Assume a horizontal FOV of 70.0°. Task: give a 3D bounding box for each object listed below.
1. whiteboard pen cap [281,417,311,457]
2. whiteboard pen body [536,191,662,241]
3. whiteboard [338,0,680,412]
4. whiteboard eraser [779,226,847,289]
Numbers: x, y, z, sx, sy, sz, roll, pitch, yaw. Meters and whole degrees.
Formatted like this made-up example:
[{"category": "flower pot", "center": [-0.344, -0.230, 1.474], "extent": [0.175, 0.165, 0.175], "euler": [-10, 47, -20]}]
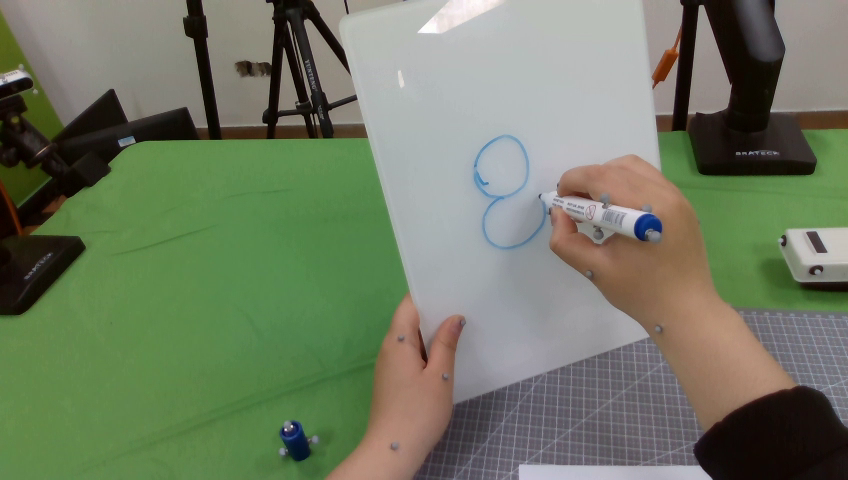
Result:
[{"category": "whiteboard pen cap", "center": [-0.098, 0.153, 0.467], "extent": [0.018, 0.033, 0.018], "euler": [-5, 39, 5]}, {"category": "whiteboard pen body", "center": [0.104, -0.019, 0.388], "extent": [0.017, 0.017, 0.140], "euler": [-19, 16, -11]}, {"category": "whiteboard", "center": [0.067, -0.052, 0.515], "extent": [0.217, 0.307, 0.143], "euler": [-17, 19, -8]}, {"category": "whiteboard eraser", "center": [0.379, 0.016, 0.529], "extent": [0.112, 0.042, 0.055], "euler": [0, 42, 11]}]
